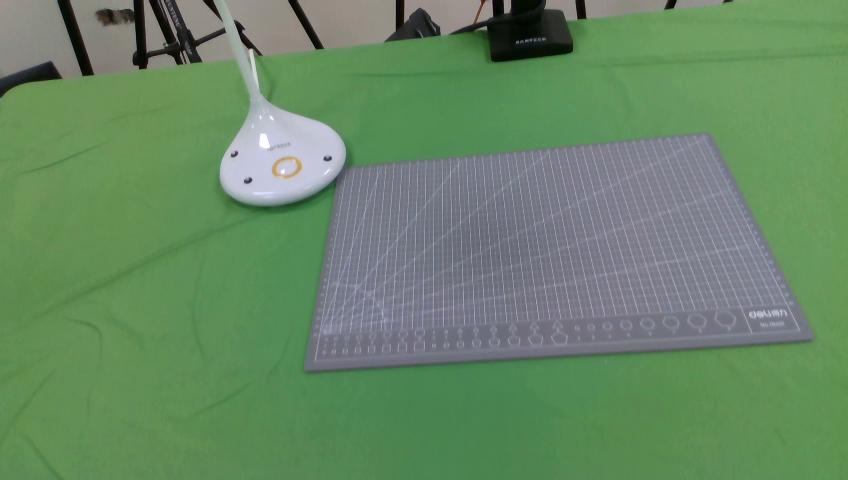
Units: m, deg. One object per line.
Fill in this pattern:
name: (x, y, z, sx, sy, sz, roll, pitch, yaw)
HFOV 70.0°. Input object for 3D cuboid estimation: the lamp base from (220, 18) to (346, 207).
lamp base: (-0.195, -0.159, 0.722, 0.161, 0.182, 0.177, -26, 44, -15)
